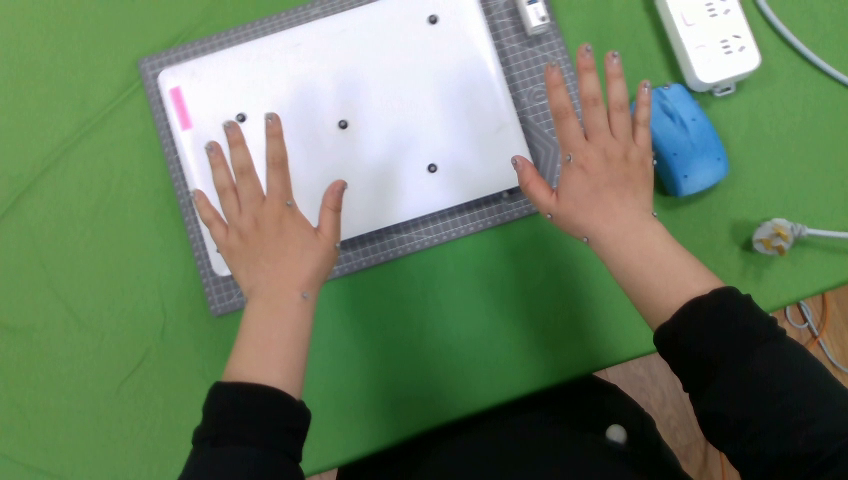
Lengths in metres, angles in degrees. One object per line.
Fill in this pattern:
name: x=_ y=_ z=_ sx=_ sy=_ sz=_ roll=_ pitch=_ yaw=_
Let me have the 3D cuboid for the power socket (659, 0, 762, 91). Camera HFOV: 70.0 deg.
power socket: x=0.284 y=-0.269 z=0.638 sx=0.072 sy=0.032 sz=0.226 roll=-17 pitch=84 yaw=2

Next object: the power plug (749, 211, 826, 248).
power plug: x=0.363 y=-0.013 z=0.601 sx=0.072 sy=0.052 sz=0.035 roll=-8 pitch=117 yaw=20

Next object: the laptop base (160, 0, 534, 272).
laptop base: x=-0.084 y=-0.127 z=0.647 sx=0.354 sy=0.023 sz=0.235 roll=-18 pitch=88 yaw=0

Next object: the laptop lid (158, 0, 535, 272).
laptop lid: x=-0.084 y=-0.126 z=0.635 sx=0.357 sy=0.013 sz=0.241 roll=-16 pitch=87 yaw=1

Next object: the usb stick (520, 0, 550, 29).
usb stick: x=0.114 y=-0.258 z=0.644 sx=0.021 sy=0.027 sz=0.059 roll=-18 pitch=83 yaw=4

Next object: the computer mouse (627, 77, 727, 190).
computer mouse: x=0.261 y=-0.112 z=0.624 sx=0.063 sy=0.041 sz=0.116 roll=-24 pitch=80 yaw=3
